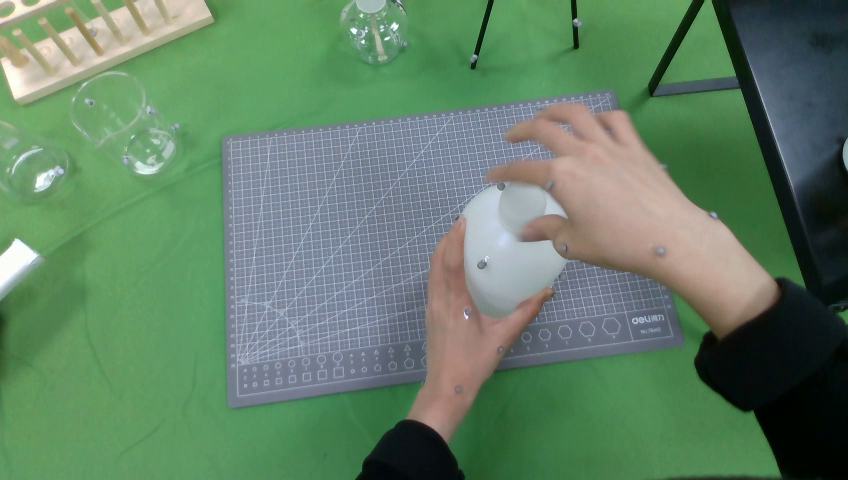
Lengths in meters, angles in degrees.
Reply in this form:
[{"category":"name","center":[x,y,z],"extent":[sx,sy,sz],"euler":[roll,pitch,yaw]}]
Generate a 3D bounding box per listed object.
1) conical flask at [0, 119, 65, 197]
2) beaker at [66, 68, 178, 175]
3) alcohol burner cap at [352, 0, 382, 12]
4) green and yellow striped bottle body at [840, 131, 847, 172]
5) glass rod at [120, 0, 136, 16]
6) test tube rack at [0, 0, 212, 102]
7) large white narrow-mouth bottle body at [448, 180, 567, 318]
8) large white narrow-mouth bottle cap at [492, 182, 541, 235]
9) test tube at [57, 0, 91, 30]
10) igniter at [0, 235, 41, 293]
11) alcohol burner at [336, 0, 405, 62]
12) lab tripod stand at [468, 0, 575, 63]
[{"category":"conical flask","center":[-0.434,-0.100,0.616],"extent":[0.075,0.122,0.075],"euler":[0,70,1]},{"category":"beaker","center":[-0.309,-0.116,0.633],"extent":[0.074,0.101,0.083],"euler":[7,71,4]},{"category":"alcohol burner cap","center":[-0.062,-0.270,0.640],"extent":[0.034,0.048,0.033],"euler":[0,69,0]},{"category":"green and yellow striped bottle body","center":[0.352,-0.084,0.415],"extent":[0.063,0.120,0.063],"euler":[0,70,1]},{"category":"glass rod","center":[-0.363,-0.314,0.641],"extent":[0.008,0.201,0.008],"euler":[-3,64,7]},{"category":"test tube rack","center":[-0.381,-0.255,0.690],"extent":[0.242,0.086,0.066],"euler":[-27,72,-9]},{"category":"large white narrow-mouth bottle body","center":[0.073,0.004,0.536],"extent":[0.102,0.196,0.101],"euler":[0,72,2]},{"category":"large white narrow-mouth bottle cap","center":[0.069,-0.024,0.452],"extent":[0.038,0.024,0.037],"euler":[0,72,1]},{"category":"test tube","center":[-0.404,-0.281,0.647],"extent":[0.017,0.151,0.017],"euler":[-2,67,4]},{"category":"igniter","center":[-0.467,0.106,0.544],"extent":[0.057,0.025,0.276],"euler":[35,71,10]},{"category":"alcohol burner","center":[-0.061,-0.256,0.674],"extent":[0.078,0.120,0.077],"euler":[0,68,0]},{"category":"lab tripod stand","center":[0.108,-0.276,0.669],"extent":[0.148,0.132,0.147],"euler":[0,69,0]}]
